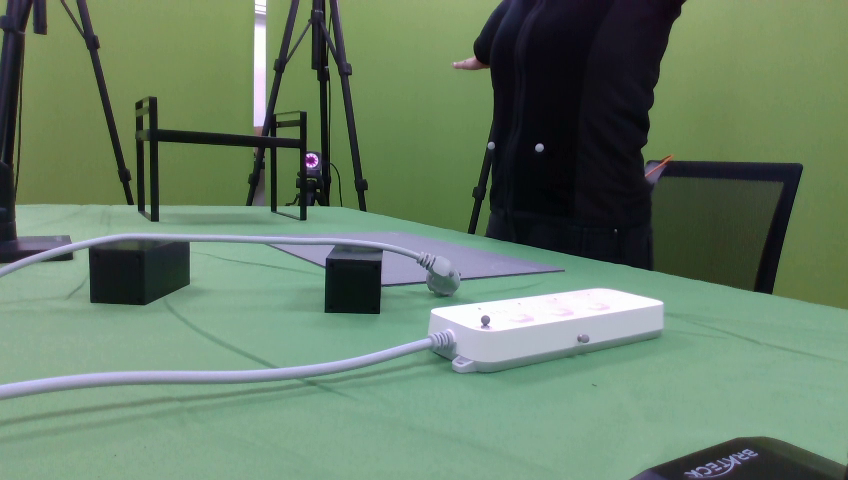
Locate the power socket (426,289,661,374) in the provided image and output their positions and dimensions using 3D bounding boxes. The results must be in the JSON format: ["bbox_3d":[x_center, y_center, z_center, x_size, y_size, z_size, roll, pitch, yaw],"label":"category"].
[{"bbox_3d":[0.102,0.067,0.483,0.228,0.032,0.072,-3,8,-35],"label":"power socket"}]

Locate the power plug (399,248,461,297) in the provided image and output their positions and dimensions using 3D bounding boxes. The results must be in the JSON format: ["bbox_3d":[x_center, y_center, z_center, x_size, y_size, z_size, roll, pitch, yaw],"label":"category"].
[{"bbox_3d":[0.007,0.031,0.634,0.072,0.035,0.052,37,-32,4],"label":"power plug"}]
